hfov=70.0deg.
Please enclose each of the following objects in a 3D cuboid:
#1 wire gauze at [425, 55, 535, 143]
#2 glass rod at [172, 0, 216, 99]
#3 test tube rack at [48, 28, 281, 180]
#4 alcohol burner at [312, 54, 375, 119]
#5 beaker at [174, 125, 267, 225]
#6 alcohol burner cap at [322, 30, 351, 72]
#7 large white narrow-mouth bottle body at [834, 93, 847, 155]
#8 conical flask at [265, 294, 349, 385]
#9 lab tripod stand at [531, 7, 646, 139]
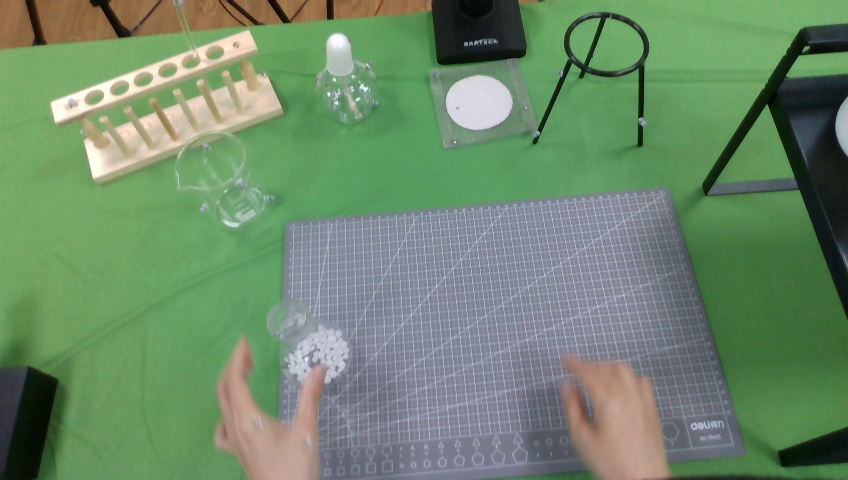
[{"bbox_3d":[0.070,-0.185,0.775,0.121,0.011,0.124,-9,64,-3],"label":"wire gauze"},{"bbox_3d":[-0.268,-0.231,0.696,0.008,0.201,0.008,1,62,-2],"label":"glass rod"},{"bbox_3d":[-0.310,-0.166,0.741,0.242,0.086,0.066,-23,65,-9],"label":"test tube rack"},{"bbox_3d":[-0.100,-0.204,0.734,0.078,0.120,0.077,-1,62,2],"label":"alcohol burner"},{"bbox_3d":[-0.226,-0.066,0.680,0.073,0.101,0.084,39,72,20],"label":"beaker"},{"bbox_3d":[-0.102,-0.222,0.702,0.034,0.048,0.033,3,62,-5],"label":"alcohol burner cap"},{"bbox_3d":[0.392,-0.132,0.431,0.102,0.196,0.101,-1,62,2],"label":"large white narrow-mouth bottle body"},{"bbox_3d":[-0.118,0.090,0.584,0.075,0.123,0.074,-1,63,3],"label":"conical flask"},{"bbox_3d":[0.197,-0.186,0.700,0.148,0.132,0.147,0,63,1],"label":"lab tripod stand"}]
